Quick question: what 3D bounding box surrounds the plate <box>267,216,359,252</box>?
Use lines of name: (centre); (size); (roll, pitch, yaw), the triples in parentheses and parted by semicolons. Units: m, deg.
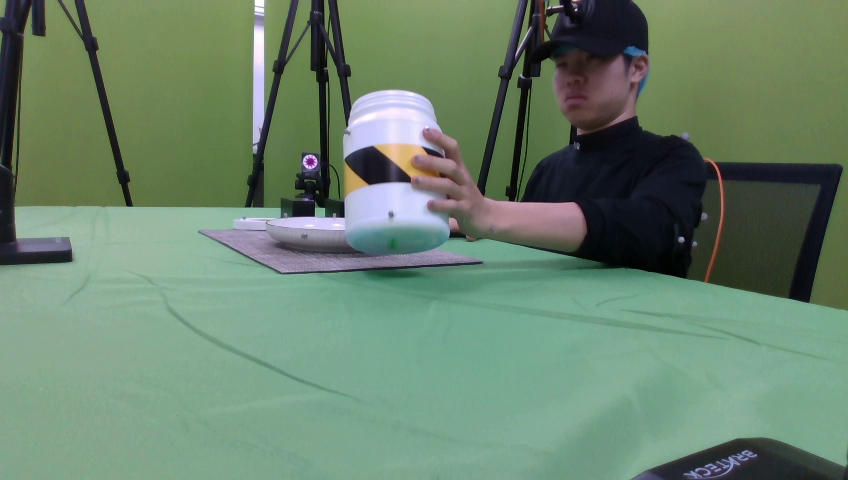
plate: (-0.145, -0.010, 0.967); (0.208, 0.039, 0.207); (2, 7, 0)

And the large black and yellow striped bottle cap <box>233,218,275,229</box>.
large black and yellow striped bottle cap: (-0.311, -0.032, 1.172); (0.115, 0.019, 0.115); (1, 4, 0)

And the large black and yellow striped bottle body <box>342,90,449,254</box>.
large black and yellow striped bottle body: (-0.039, -0.084, 0.771); (0.131, 0.183, 0.131); (-3, -16, -1)
